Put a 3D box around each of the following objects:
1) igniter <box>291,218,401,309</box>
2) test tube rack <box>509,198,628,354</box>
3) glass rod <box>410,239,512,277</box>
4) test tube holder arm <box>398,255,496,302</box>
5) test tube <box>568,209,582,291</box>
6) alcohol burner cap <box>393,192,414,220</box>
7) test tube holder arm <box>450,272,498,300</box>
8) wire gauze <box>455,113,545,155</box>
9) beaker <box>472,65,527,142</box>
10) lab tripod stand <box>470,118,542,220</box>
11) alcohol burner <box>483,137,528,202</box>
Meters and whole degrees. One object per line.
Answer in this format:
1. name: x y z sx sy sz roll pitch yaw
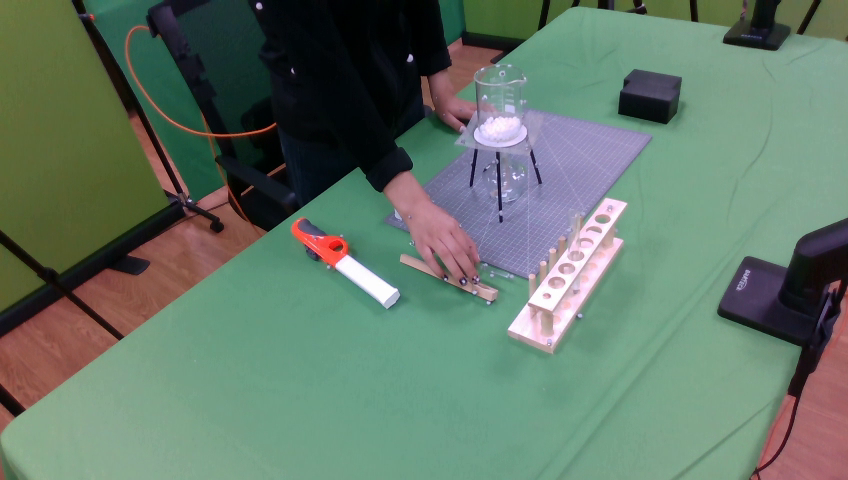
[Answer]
1. igniter: -0.135 0.031 0.970 0.057 0.025 0.274 -41 49 -19
2. test tube rack: 0.206 0.039 0.850 0.066 0.085 0.243 20 48 30
3. glass rod: 0.052 0.027 0.941 0.198 0.008 0.008 19 48 37
4. test tube holder arm: 0.031 0.055 0.913 0.177 0.015 0.013 21 15 31
5. test tube: 0.200 0.018 0.799 0.017 0.151 0.017 -8 45 8
6. alcohol burner cap: -0.038 -0.061 1.043 0.034 0.048 0.033 -5 40 5
7. test tube holder arm: 0.070 0.068 0.894 0.087 0.015 0.010 21 15 32
8. wire gauze: 0.124 -0.175 0.973 0.124 0.011 0.121 8 39 21
9. beaker: 0.120 -0.211 0.942 0.083 0.101 0.074 10 42 21
10. lab tripod stand: 0.135 -0.128 1.019 0.148 0.132 0.147 -5 38 5
11. alcohol burner: 0.138 -0.125 1.030 0.078 0.119 0.077 -4 41 4
